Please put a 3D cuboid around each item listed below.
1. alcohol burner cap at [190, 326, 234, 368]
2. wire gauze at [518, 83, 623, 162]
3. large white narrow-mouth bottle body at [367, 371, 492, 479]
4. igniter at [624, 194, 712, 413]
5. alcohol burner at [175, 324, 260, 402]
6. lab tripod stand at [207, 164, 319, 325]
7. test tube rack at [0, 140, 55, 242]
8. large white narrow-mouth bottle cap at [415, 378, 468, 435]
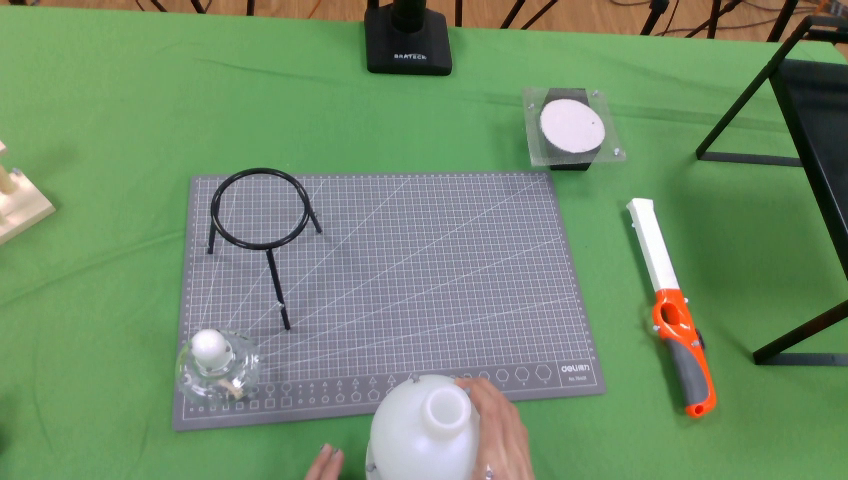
[{"bbox_3d":[-0.189,0.093,0.535,0.034,0.048,0.033,3,67,-7],"label":"alcohol burner cap"},{"bbox_3d":[0.186,-0.152,0.779,0.122,0.011,0.124,0,63,-9],"label":"wire gauze"},{"bbox_3d":[0.004,0.167,0.506,0.102,0.196,0.101,3,57,-5],"label":"large white narrow-mouth bottle body"},{"bbox_3d":[0.288,0.066,0.722,0.057,0.025,0.274,4,61,-19],"label":"igniter"},{"bbox_3d":[-0.194,0.109,0.567,0.078,0.120,0.077,5,59,-8],"label":"alcohol burner"},{"bbox_3d":[-0.160,-0.001,0.621,0.149,0.132,0.147,5,62,-9],"label":"lab tripod stand"},{"bbox_3d":[-0.511,-0.005,0.596,0.066,0.086,0.242,42,63,14],"label":"test tube rack"},{"bbox_3d":[0.012,0.120,0.435,0.038,0.024,0.037,4,57,-5],"label":"large white narrow-mouth bottle cap"}]
